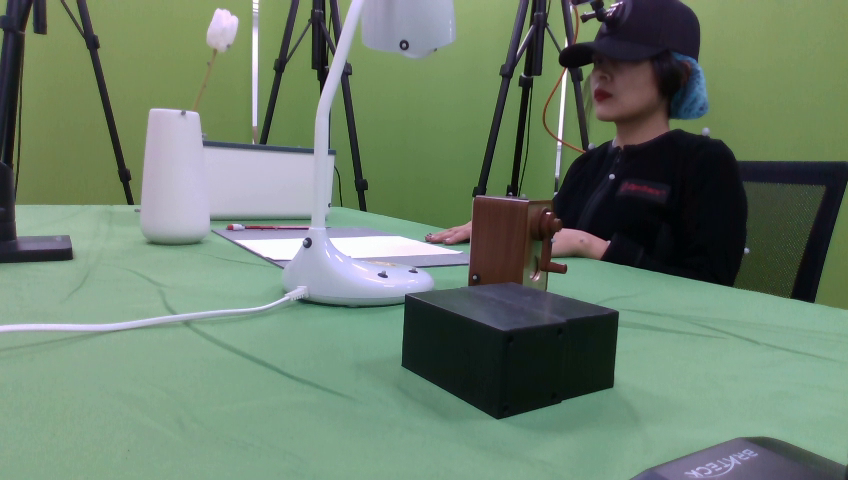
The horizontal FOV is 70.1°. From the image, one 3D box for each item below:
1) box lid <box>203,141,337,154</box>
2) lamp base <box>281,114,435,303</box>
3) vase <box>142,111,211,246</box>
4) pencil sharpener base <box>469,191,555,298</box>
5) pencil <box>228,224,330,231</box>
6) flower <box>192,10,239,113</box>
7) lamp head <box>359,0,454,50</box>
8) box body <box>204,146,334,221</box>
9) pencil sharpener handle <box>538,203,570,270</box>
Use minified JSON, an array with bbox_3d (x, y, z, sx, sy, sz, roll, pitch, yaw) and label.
[{"bbox_3d":[-0.407,-0.209,1.370,0.373,0.015,0.262,-1,8,-31],"label":"box lid"},{"bbox_3d":[-0.071,-0.035,0.614,0.160,0.180,0.180,6,10,27],"label":"lamp base"},{"bbox_3d":[-0.378,-0.093,0.920,0.098,0.200,0.098,2,9,0],"label":"vase"},{"bbox_3d":[0.097,0.003,0.652,0.076,0.107,0.061,8,9,38],"label":"pencil sharpener base"},{"bbox_3d":[-0.265,-0.023,1.124,0.195,0.012,0.012,-1,8,-32],"label":"pencil"},{"bbox_3d":[-0.354,-0.174,0.915,0.038,0.361,0.044,18,-4,12],"label":"flower"},{"bbox_3d":[-0.024,-0.283,0.674,0.112,0.123,0.112,-3,38,3],"label":"lamp head"},{"bbox_3d":[-0.413,-0.134,1.379,0.366,0.160,0.253,-2,9,-31],"label":"box body"},{"bbox_3d":[0.137,-0.003,0.619,0.030,0.067,0.036,8,5,38],"label":"pencil sharpener handle"}]
